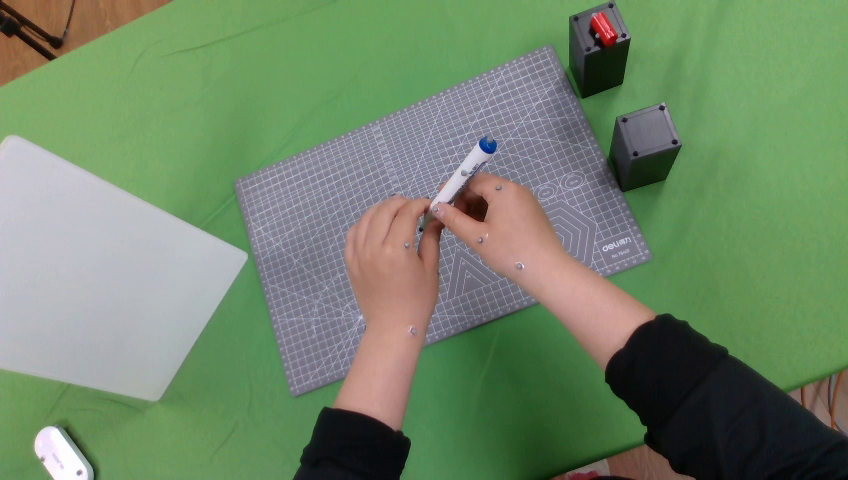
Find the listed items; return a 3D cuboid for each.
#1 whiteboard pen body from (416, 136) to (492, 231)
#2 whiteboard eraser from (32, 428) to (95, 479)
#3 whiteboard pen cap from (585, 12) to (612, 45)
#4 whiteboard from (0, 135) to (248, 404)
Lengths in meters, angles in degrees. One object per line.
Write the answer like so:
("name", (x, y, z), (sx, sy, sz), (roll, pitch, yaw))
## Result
("whiteboard pen body", (0.021, -0.044, 0.534), (0.017, 0.141, 0.016), (13, 55, -20))
("whiteboard eraser", (-0.454, 0.278, 0.758), (0.100, 0.019, 0.041), (40, 87, 18))
("whiteboard pen cap", (0.184, -0.222, 0.637), (0.017, 0.017, 0.032), (-27, 74, 5))
("whiteboard", (-0.401, 0.032, 0.691), (0.142, 0.309, 0.217), (26, 83, 37))
